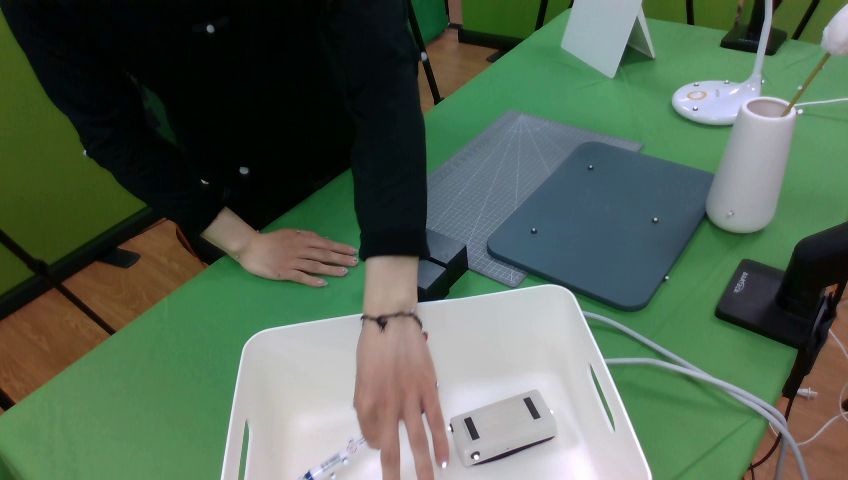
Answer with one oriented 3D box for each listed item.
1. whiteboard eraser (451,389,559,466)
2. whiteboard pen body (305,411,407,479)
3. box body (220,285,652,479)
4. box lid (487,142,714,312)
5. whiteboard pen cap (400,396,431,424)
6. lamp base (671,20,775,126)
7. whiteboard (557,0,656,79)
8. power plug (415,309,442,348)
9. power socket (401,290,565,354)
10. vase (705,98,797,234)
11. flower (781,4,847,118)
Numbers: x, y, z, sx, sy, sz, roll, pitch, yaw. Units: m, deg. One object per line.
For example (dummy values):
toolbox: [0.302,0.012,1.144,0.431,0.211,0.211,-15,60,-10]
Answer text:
whiteboard eraser: [0.090,0.212,0.682,0.113,0.042,0.055,-17,40,-8]
whiteboard pen body: [-0.060,0.211,0.639,0.141,0.017,0.017,-29,45,-20]
box body: [0.005,0.211,0.616,0.364,0.161,0.252,-9,40,-2]
box lid: [0.298,-0.041,0.986,0.261,0.015,0.372,23,49,30]
whiteboard pen cap: [-0.010,0.186,0.656,0.033,0.018,0.018,-28,44,-19]
lamp base: [0.581,-0.332,1.154,0.179,0.181,0.160,2,41,7]
whiteboard: [0.462,-0.542,1.366,0.145,0.306,0.215,-3,36,-25]
power plug: [0.004,0.121,0.786,0.035,0.053,0.072,1,45,8]
power socket: [0.080,0.111,0.823,0.227,0.033,0.072,-6,41,1]
vase: [0.480,-0.104,0.888,0.098,0.201,0.097,-4,42,4]
flower: [0.480,-0.157,0.824,0.044,0.362,0.038,-8,56,-9]
